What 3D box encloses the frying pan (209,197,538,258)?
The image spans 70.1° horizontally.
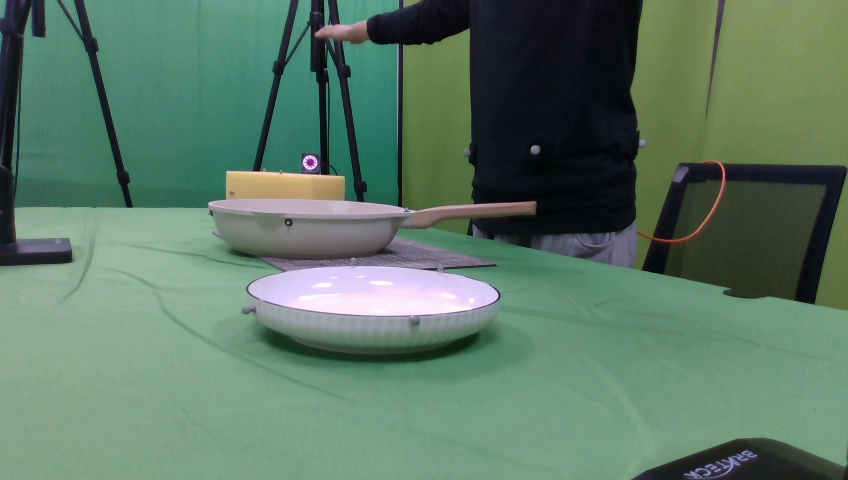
[{"bbox_3d":[-0.076,-0.034,0.912,0.487,0.102,0.307,-5,7,12],"label":"frying pan"}]

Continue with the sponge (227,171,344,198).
[{"bbox_3d":[-0.283,-0.108,1.242,0.206,0.061,0.118,5,8,23],"label":"sponge"}]

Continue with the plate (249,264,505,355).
[{"bbox_3d":[-0.037,0.056,0.504,0.208,0.039,0.207,2,7,0],"label":"plate"}]
